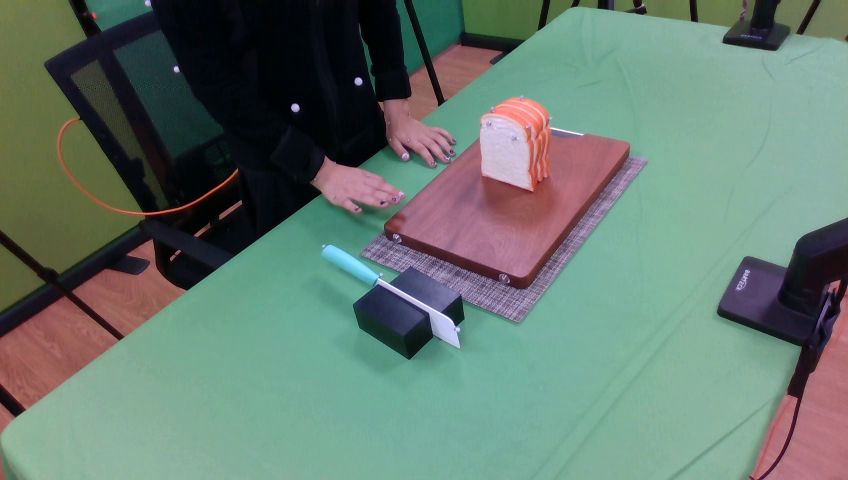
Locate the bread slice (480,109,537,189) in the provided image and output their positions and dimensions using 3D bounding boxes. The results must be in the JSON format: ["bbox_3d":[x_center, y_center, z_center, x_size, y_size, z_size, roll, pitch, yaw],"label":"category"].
[{"bbox_3d":[0.138,-0.154,1.008,0.106,0.135,0.018,19,49,35],"label":"bread slice"}]

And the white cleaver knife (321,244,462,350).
[{"bbox_3d":[-0.056,0.079,0.868,0.284,0.066,0.021,28,47,37],"label":"white cleaver knife"}]

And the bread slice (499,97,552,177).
[{"bbox_3d":[0.173,-0.179,1.034,0.104,0.132,0.019,24,46,31],"label":"bread slice"}]
